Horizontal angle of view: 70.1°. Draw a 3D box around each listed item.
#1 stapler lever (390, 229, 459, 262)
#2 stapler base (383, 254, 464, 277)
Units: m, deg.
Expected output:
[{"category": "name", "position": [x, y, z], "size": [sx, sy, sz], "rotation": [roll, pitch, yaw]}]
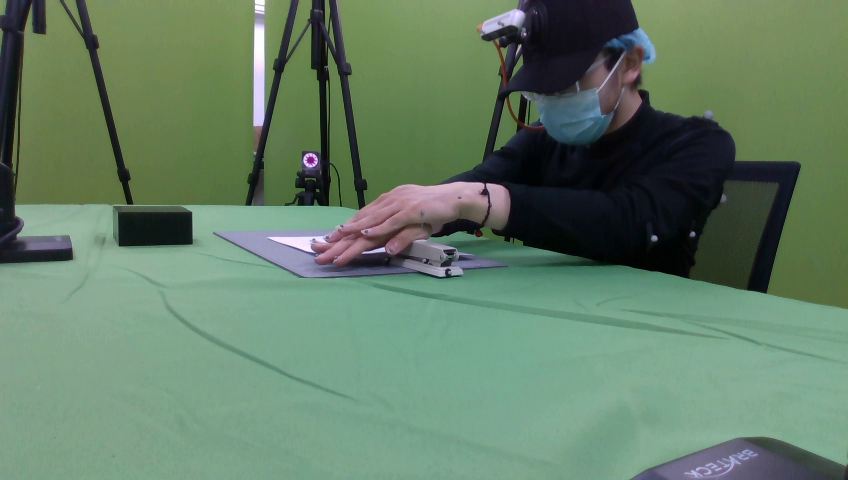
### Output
[{"category": "stapler lever", "position": [-0.003, 0.007, 0.787], "size": [0.027, 0.040, 0.117], "rotation": [-10, 8, -38]}, {"category": "stapler base", "position": [-0.004, 0.026, 0.790], "size": [0.041, 0.024, 0.130], "rotation": [-10, 14, -38]}]
